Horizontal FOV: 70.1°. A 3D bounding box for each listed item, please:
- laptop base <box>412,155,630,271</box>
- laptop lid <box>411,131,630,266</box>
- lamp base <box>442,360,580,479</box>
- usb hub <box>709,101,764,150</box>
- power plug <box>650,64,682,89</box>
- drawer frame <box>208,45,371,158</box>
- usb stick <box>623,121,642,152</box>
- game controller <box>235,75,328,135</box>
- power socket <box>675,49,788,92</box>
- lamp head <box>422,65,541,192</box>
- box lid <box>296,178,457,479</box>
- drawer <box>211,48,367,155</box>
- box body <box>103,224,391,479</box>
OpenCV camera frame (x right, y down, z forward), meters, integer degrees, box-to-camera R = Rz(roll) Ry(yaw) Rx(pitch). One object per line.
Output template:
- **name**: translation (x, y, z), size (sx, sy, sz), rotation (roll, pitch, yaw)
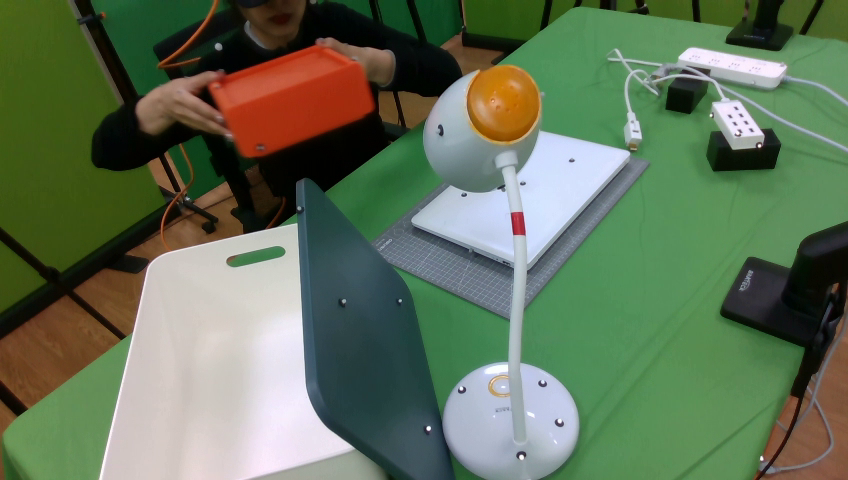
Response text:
- **laptop base**: translation (0.176, -0.085, 1.056), size (0.233, 0.023, 0.355), rotation (20, 48, 36)
- **laptop lid**: translation (0.172, -0.094, 1.050), size (0.239, 0.013, 0.358), rotation (23, 49, 36)
- **lamp base**: translation (0.094, 0.158, 0.657), size (0.161, 0.181, 0.178), rotation (-14, 42, -5)
- **usb hub**: translation (0.534, -0.199, 1.040), size (0.049, 0.025, 0.124), rotation (-5, 39, 8)
- **power plug**: translation (0.498, -0.341, 1.263), size (0.035, 0.052, 0.072), rotation (20, 10, -7)
- **drawer frame**: translation (-0.211, -0.220, 0.929), size (0.202, 0.083, 0.211), rotation (-24, 32, -14)
- **usb stick**: translation (0.389, -0.192, 1.128), size (0.021, 0.027, 0.059), rotation (9, 62, -9)
- **game controller**: translation (-0.229, -0.224, 0.972), size (0.156, 0.051, 0.096), rotation (-24, 2, -17)
- **power socket**: translation (0.647, -0.363, 1.284), size (0.225, 0.033, 0.072), rotation (26, 53, 35)
- **lamp head**: translation (0.060, -0.106, 0.560), size (0.113, 0.112, 0.122), rotation (-17, 0, -8)
- **box lid**: translation (-0.059, 0.103, 0.702), size (0.015, 0.265, 0.369), rotation (-30, 39, 11)
- **drawer**: translation (-0.213, -0.219, 0.931), size (0.195, 0.073, 0.210), rotation (-23, 31, -14)
- **box body**: translation (-0.190, 0.161, 0.723), size (0.255, 0.161, 0.361), rotation (-13, 40, -5)
